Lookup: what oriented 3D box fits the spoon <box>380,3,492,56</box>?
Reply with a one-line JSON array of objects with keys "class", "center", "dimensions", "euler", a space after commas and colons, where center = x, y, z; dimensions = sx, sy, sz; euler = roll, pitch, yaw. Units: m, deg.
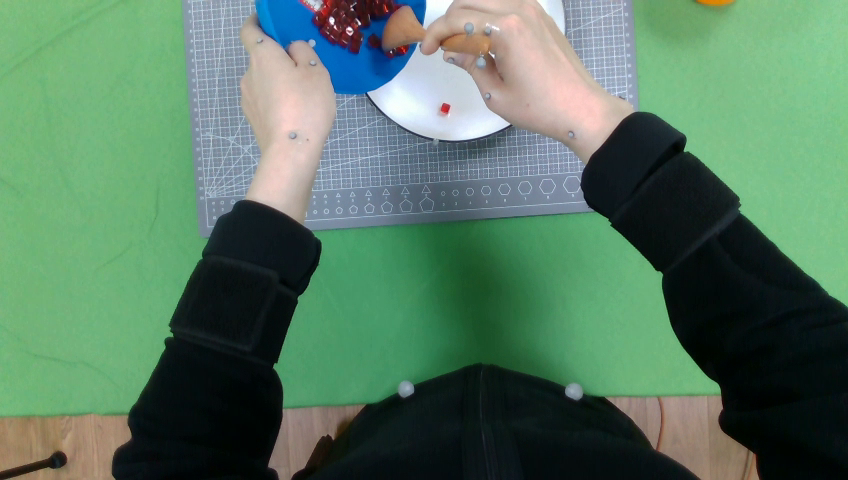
[{"class": "spoon", "center": [0.005, -0.152, 0.446], "dimensions": [0.022, 0.191, 0.041], "euler": [26, 99, -33]}]

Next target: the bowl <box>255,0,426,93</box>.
[{"class": "bowl", "center": [-0.080, -0.202, 0.497], "dimensions": [0.076, 0.153, 0.151], "euler": [26, 93, 45]}]

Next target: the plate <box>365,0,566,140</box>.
[{"class": "plate", "center": [0.031, -0.200, 0.588], "dimensions": [0.209, 0.038, 0.209], "euler": [0, 91, 4]}]
